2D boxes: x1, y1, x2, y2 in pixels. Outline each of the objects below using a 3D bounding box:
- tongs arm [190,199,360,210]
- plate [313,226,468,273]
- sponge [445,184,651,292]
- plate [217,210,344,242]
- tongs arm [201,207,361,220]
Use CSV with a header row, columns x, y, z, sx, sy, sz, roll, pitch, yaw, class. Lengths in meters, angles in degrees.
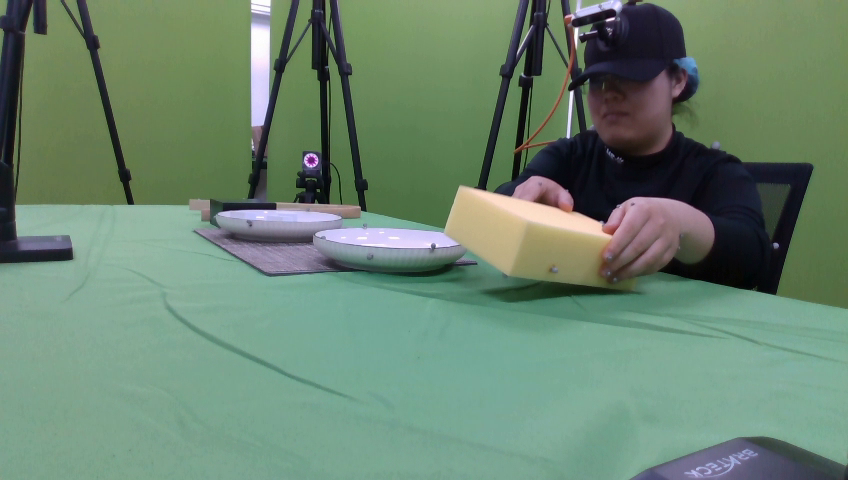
x,y,z,sx,sy,sz,roll,pitch,yaw,class
-0.341,-0.075,1.419,0.387,0.026,0.050,0,8,-25,tongs arm
-0.044,0.012,0.807,0.209,0.038,0.209,2,7,0,plate
0.143,0.000,0.687,0.208,0.061,0.117,10,16,-36,sponge
-0.241,-0.024,1.026,0.208,0.039,0.207,3,7,0,plate
-0.302,-0.060,1.350,0.390,0.028,0.028,-3,7,-38,tongs arm
